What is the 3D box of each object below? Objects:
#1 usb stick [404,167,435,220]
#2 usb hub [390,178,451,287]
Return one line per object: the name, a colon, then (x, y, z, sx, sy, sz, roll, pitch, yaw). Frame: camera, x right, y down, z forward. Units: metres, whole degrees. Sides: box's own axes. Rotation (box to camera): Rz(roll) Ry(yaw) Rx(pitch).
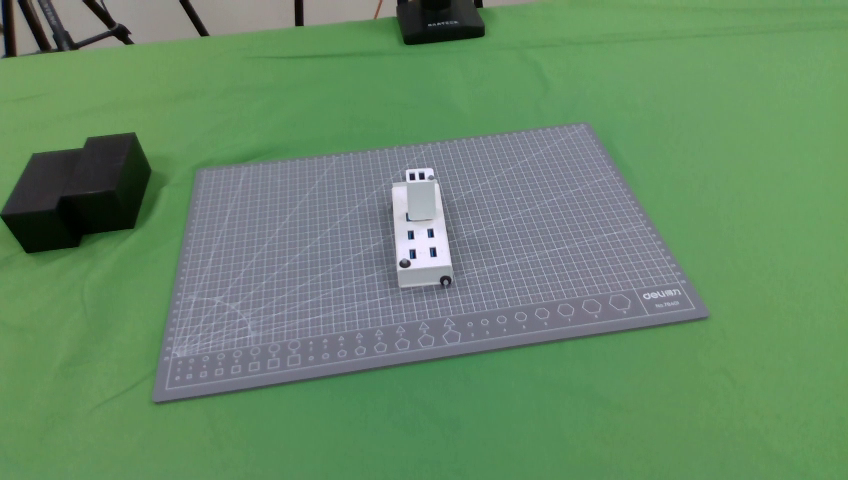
usb stick: (-0.004, -0.037, 0.557, 0.027, 0.060, 0.021, -8, 44, -1)
usb hub: (-0.005, -0.010, 0.572, 0.049, 0.025, 0.124, -5, 44, -1)
